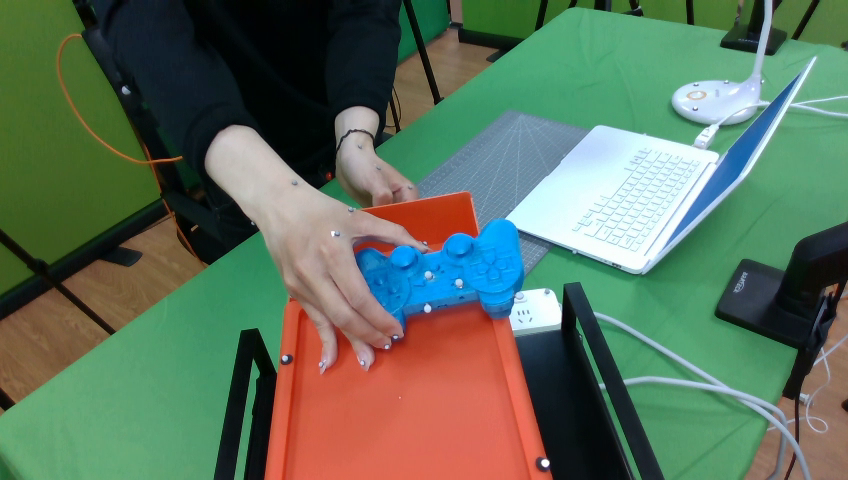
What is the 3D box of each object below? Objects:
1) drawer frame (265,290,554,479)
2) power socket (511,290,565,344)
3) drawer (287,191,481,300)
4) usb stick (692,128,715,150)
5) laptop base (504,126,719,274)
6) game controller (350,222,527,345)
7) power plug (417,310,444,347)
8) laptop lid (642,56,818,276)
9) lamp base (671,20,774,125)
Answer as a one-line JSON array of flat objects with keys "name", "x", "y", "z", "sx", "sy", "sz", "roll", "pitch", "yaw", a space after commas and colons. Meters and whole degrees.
[{"name": "drawer frame", "x": -0.016, "y": 0.134, "z": 0.494, "sx": 0.202, "sy": 0.083, "sz": 0.212, "roll": -8, "pitch": 41, "yaw": -2}, {"name": "power socket", "x": 0.081, "y": 0.112, "z": 0.822, "sx": 0.227, "sy": 0.033, "sz": 0.072, "roll": -7, "pitch": 40, "yaw": 0}, {"name": "drawer", "x": -0.030, "y": 0.057, "z": 0.577, "sx": 0.195, "sy": 0.073, "sz": 0.210, "roll": -8, "pitch": 45, "yaw": -3}, {"name": "usb stick", "x": 0.501, "y": -0.176, "z": 1.091, "sx": 0.021, "sy": 0.027, "sz": 0.059, "roll": 29, "pitch": 55, "yaw": 29}, {"name": "laptop base", "x": 0.325, "y": -0.084, "z": 1.027, "sx": 0.233, "sy": 0.023, "sz": 0.355, "roll": 21, "pitch": 48, "yaw": 32}, {"name": "game controller", "x": 0.011, "y": 0.030, "z": 0.513, "sx": 0.155, "sy": 0.052, "sz": 0.096, "roll": -12, "pitch": 56, "yaw": 3}, {"name": "power plug", "x": 0.007, "y": 0.123, "z": 0.784, "sx": 0.035, "sy": 0.053, "sz": 0.072, "roll": -2, "pitch": 43, "yaw": 8}, {"name": "laptop lid", "x": 0.445, "y": -0.108, "z": 0.876, "sx": 0.013, "sy": 0.241, "sz": 0.357, "roll": 39, "pitch": 53, "yaw": 12}, {"name": "lamp base", "x": 0.581, "y": -0.332, "z": 1.154, "sx": 0.179, "sy": 0.181, "sz": 0.160, "roll": 2, "pitch": 41, "yaw": 7}]
